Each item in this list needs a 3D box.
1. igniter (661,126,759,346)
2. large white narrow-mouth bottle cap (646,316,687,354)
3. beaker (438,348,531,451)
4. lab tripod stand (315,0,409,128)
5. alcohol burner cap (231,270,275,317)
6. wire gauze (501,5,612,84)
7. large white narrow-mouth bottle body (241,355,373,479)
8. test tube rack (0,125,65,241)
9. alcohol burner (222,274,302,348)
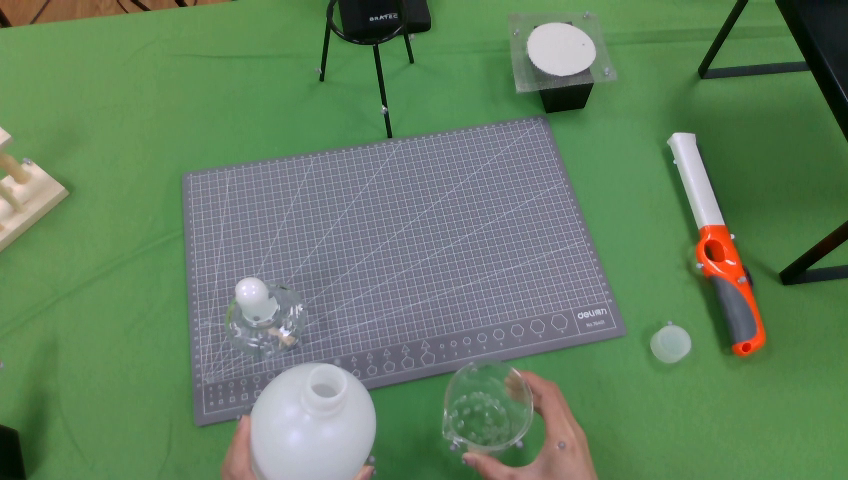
[{"bbox_3d":[0.322,-0.013,0.689,0.057,0.025,0.274,0,64,-14],"label":"igniter"},{"bbox_3d":[0.254,0.100,0.638,0.038,0.024,0.037,1,64,-1],"label":"large white narrow-mouth bottle cap"},{"bbox_3d":[0.047,0.150,0.542,0.084,0.101,0.073,-31,69,-15],"label":"beaker"},{"bbox_3d":[-0.066,-0.228,0.720,0.148,0.132,0.147,2,65,-3],"label":"lab tripod stand"},{"bbox_3d":[-0.159,0.047,0.554,0.034,0.048,0.033,-1,60,2],"label":"alcohol burner cap"},{"bbox_3d":[0.162,-0.246,0.751,0.121,0.011,0.124,-3,64,-3],"label":"wire gauze"},{"bbox_3d":[-0.095,0.152,0.494,0.102,0.196,0.101,10,50,-11],"label":"large white narrow-mouth bottle body"},{"bbox_3d":[-0.513,-0.013,0.629,0.066,0.086,0.242,35,68,14],"label":"test tube rack"},{"bbox_3d":[-0.159,0.062,0.587,0.078,0.120,0.077,2,63,-3],"label":"alcohol burner"}]
